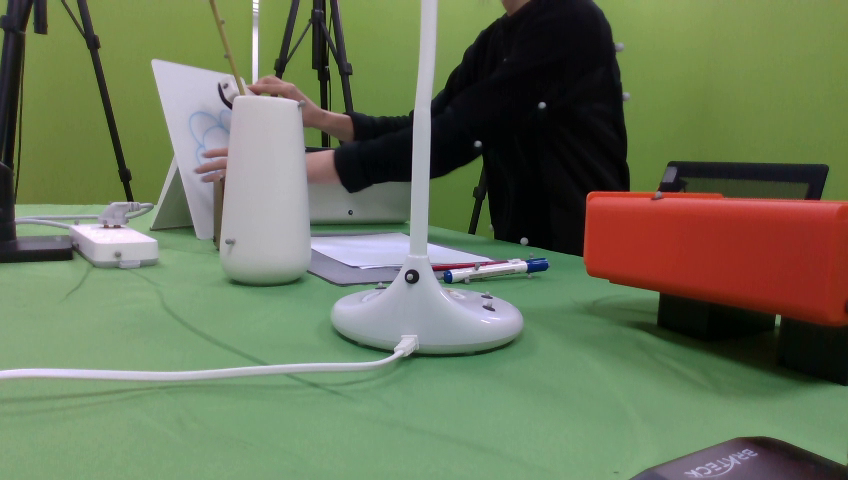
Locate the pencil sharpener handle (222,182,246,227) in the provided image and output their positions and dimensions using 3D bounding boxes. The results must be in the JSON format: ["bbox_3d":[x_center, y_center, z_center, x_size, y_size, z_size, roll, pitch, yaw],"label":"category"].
[{"bbox_3d":[-0.289,-0.055,0.912,0.036,0.067,0.030,-1,8,-29],"label":"pencil sharpener handle"}]

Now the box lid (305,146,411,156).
[{"bbox_3d":[-0.229,-0.200,1.360,0.373,0.015,0.262,-3,9,-33],"label":"box lid"}]

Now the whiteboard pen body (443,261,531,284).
[{"bbox_3d":[0.087,0.037,0.733,0.141,0.017,0.017,-6,11,-27],"label":"whiteboard pen body"}]

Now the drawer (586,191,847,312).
[{"bbox_3d":[0.281,0.001,0.512,0.195,0.073,0.210,-1,8,-29],"label":"drawer"}]

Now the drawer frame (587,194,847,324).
[{"bbox_3d":[0.285,0.004,0.508,0.203,0.082,0.212,-1,6,-29],"label":"drawer frame"}]

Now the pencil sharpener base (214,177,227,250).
[{"bbox_3d":[-0.265,-0.036,0.870,0.061,0.107,0.076,-2,8,-29],"label":"pencil sharpener base"}]

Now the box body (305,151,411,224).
[{"bbox_3d":[-0.230,-0.126,1.370,0.366,0.160,0.253,-2,8,-33],"label":"box body"}]

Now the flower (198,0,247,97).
[{"bbox_3d":[-0.187,-0.133,0.648,0.038,0.362,0.044,-1,22,43],"label":"flower"}]

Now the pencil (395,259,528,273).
[{"bbox_3d":[0.053,0.035,0.783,0.195,0.012,0.012,-3,9,-25],"label":"pencil"}]

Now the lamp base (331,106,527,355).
[{"bbox_3d":[0.006,-0.012,0.478,0.161,0.180,0.179,2,10,2],"label":"lamp base"}]

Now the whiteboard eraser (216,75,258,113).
[{"bbox_3d":[-0.310,-0.235,1.056,0.113,0.042,0.055,33,22,-55],"label":"whiteboard eraser"}]

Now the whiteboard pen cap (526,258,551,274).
[{"bbox_3d":[0.141,0.033,0.758,0.033,0.018,0.018,-7,11,-26],"label":"whiteboard pen cap"}]

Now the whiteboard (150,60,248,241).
[{"bbox_3d":[-0.408,-0.139,1.093,0.143,0.305,0.218,-15,-1,26],"label":"whiteboard"}]

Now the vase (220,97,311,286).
[{"bbox_3d":[-0.172,-0.052,0.662,0.098,0.200,0.098,3,8,0],"label":"vase"}]

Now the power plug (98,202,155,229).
[{"bbox_3d":[-0.416,-0.026,0.848,0.073,0.052,0.035,0,8,-28],"label":"power plug"}]

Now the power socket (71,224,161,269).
[{"bbox_3d":[-0.408,0.004,0.793,0.072,0.032,0.225,-2,8,-38],"label":"power socket"}]
